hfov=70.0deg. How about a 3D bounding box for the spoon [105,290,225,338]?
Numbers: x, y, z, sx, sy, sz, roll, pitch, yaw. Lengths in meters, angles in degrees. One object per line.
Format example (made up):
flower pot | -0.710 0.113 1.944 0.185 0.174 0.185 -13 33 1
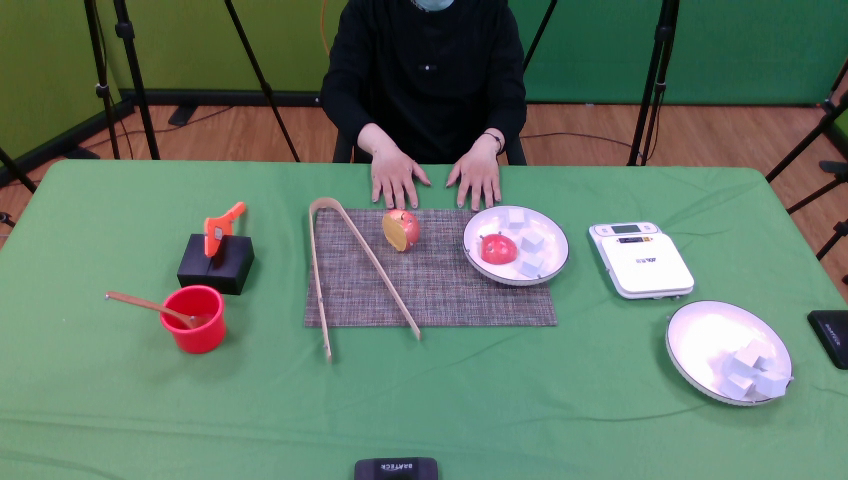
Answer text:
spoon | -0.411 0.115 0.971 0.195 0.021 0.041 32 36 -37

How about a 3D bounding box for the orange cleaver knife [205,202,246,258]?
orange cleaver knife | -0.375 -0.024 1.151 0.012 0.077 0.210 0 16 2

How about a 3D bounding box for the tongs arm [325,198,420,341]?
tongs arm | -0.102 0.042 1.140 0.028 0.028 0.385 -22 51 -18

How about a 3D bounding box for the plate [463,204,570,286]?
plate | 0.177 0.013 1.180 0.209 0.038 0.208 2 46 -2

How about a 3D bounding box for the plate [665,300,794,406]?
plate | 0.513 0.194 1.034 0.208 0.039 0.206 2 46 -2

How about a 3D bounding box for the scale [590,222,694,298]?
scale | 0.424 0.031 1.189 0.149 0.032 0.199 -3 46 -7

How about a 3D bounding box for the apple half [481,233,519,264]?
apple half | 0.147 0.010 1.175 0.081 0.033 0.081 0 46 1

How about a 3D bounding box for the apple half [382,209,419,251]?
apple half | -0.039 -0.022 1.175 0.053 0.075 0.080 -27 49 -31

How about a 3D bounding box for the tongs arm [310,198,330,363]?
tongs arm | -0.180 0.058 1.117 0.051 0.026 0.382 -9 47 -11
